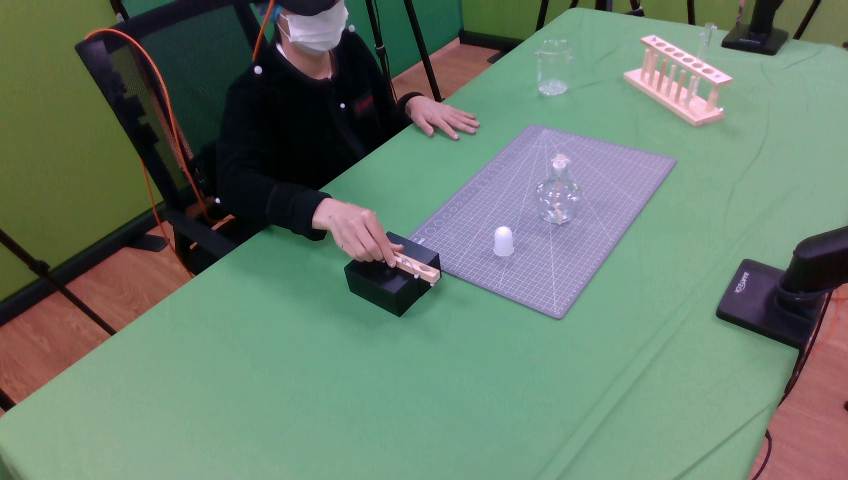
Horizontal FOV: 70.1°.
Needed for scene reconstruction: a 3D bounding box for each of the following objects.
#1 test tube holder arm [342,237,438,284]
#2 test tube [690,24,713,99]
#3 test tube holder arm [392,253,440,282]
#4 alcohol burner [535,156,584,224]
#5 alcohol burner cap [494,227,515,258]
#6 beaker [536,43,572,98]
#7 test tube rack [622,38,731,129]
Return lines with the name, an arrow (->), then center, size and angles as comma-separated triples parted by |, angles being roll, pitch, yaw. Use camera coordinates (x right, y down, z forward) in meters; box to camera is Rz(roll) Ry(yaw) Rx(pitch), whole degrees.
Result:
test tube holder arm -> -0.053, 0.028, 0.879 | 0.177, 0.015, 0.013 | 20, 34, 31
test tube -> 0.534, -0.342, 1.172 | 0.017, 0.151, 0.017 | -3, 41, 3
test tube holder arm -> -0.014, 0.039, 0.860 | 0.087, 0.015, 0.010 | 20, 35, 32
alcohol burner -> 0.217, -0.085, 0.967 | 0.078, 0.119, 0.077 | -3, 41, 3
alcohol burner cap -> 0.124, 0.001, 0.936 | 0.034, 0.048, 0.033 | -4, 40, 4
beaker -> 0.280, -0.368, 1.311 | 0.074, 0.101, 0.084 | 4, 41, 14
test tube rack -> 0.506, -0.325, 1.234 | 0.067, 0.085, 0.240 | -18, 41, -11
